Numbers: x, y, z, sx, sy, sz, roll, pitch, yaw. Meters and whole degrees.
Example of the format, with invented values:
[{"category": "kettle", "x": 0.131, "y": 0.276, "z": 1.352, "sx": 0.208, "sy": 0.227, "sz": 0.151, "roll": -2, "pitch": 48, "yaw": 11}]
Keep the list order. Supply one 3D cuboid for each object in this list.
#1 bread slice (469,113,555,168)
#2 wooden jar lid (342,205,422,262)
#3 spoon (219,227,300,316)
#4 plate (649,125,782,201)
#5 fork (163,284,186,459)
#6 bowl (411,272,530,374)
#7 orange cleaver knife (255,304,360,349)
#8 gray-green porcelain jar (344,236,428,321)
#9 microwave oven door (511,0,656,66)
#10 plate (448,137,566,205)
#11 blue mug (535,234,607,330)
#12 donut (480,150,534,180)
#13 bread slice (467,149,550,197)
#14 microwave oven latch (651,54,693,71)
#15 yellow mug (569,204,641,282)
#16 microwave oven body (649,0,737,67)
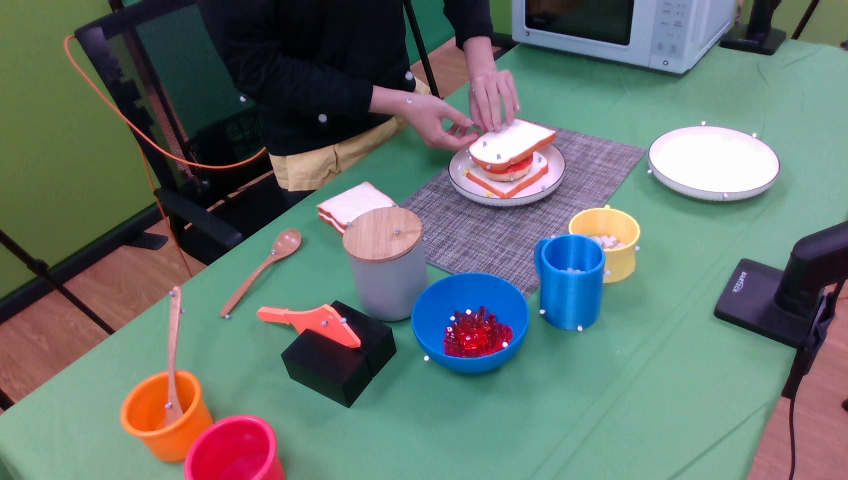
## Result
[{"category": "bread slice", "x": 0.145, "y": -0.169, "z": 1.035, "sx": 0.134, "sy": 0.018, "sz": 0.106, "roll": -39, "pitch": 43, "yaw": -24}, {"category": "wooden jar lid", "x": -0.055, "y": -0.006, "z": 0.808, "sx": 0.108, "sy": 0.021, "sz": 0.108, "roll": -6, "pitch": 41, "yaw": 6}, {"category": "spoon", "x": -0.261, "y": 0.046, "z": 0.954, "sx": 0.041, "sy": 0.021, "sz": 0.194, "roll": 27, "pitch": 48, "yaw": 10}, {"category": "plate", "x": 0.493, "y": -0.127, "z": 1.036, "sx": 0.207, "sy": 0.039, "sz": 0.206, "roll": -4, "pitch": 41, "yaw": 4}, {"category": "fork", "x": -0.302, "y": 0.157, "z": 0.733, "sx": 0.028, "sy": 0.019, "sz": 0.207, "roll": -3, "pitch": 84, "yaw": 15}, {"category": "bowl", "x": 0.061, "y": 0.120, "z": 0.780, "sx": 0.151, "sy": 0.077, "sz": 0.150, "roll": -4, "pitch": 40, "yaw": 4}, {"category": "orange cleaver knife", "x": -0.161, "y": 0.115, "z": 0.813, "sx": 0.210, "sy": 0.077, "sz": 0.012, "roll": -4, "pitch": 32, "yaw": 47}, {"category": "gray-green porcelain jar", "x": -0.049, "y": 0.042, "z": 0.849, "sx": 0.106, "sy": 0.127, "sz": 0.105, "roll": -4, "pitch": 41, "yaw": 4}, {"category": "microwave oven door", "x": 0.351, "y": -0.540, "z": 1.349, "sx": 0.353, "sy": 0.245, "sz": 0.039, "roll": 24, "pitch": 50, "yaw": 31}, {"category": "plate", "x": 0.147, "y": -0.124, "z": 1.075, "sx": 0.209, "sy": 0.038, "sz": 0.208, "roll": -4, "pitch": 41, "yaw": 4}, {"category": "blue mug", "x": 0.191, "y": 0.048, "z": 0.824, "sx": 0.082, "sy": 0.106, "sz": 0.115, "roll": -26, "pitch": 44, "yaw": -20}, {"category": "donut", "x": 0.143, "y": -0.145, "z": 1.058, "sx": 0.099, "sy": 0.048, "sz": 0.098, "roll": -3, "pitch": 42, "yaw": 3}, {"category": "bread slice", "x": 0.156, "y": -0.129, "z": 1.083, "sx": 0.132, "sy": 0.019, "sz": 0.104, "roll": -34, "pitch": 47, "yaw": -25}, {"category": "microwave oven latch", "x": 0.531, "y": -0.386, "z": 1.301, "sx": 0.078, "sy": 0.029, "sz": 0.030, "roll": 26, "pitch": 51, "yaw": 33}, {"category": "yellow mug", "x": 0.268, "y": -0.005, "z": 0.904, "sx": 0.099, "sy": 0.064, "sz": 0.130, "roll": 7, "pitch": 41, "yaw": 15}, {"category": "microwave oven body", "x": 0.475, "y": -0.602, "z": 1.411, "sx": 0.438, "sy": 0.261, "sz": 0.327, "roll": 23, "pitch": 50, "yaw": 32}]
